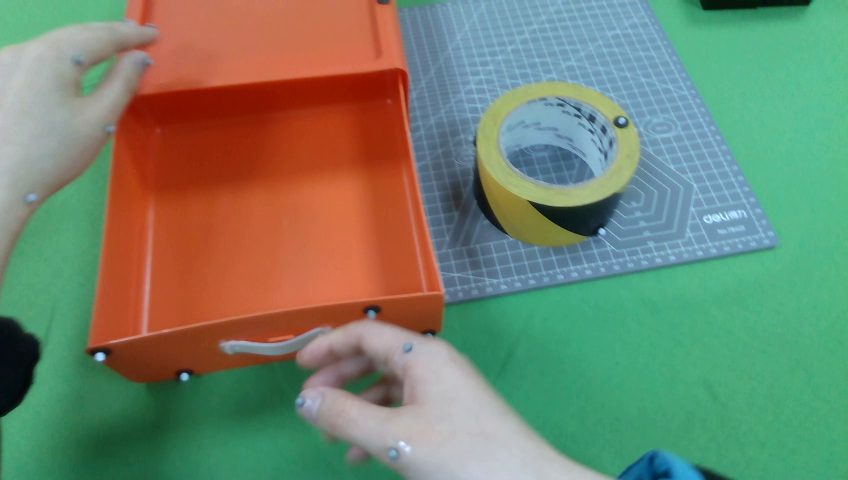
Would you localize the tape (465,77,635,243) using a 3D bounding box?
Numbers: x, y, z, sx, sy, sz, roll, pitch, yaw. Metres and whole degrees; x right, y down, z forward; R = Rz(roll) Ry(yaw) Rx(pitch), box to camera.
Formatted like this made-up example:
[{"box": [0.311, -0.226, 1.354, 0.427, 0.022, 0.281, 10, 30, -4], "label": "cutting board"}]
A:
[{"box": [0.089, -0.057, 0.431, 0.117, 0.053, 0.116, 0, 60, 1], "label": "tape"}]

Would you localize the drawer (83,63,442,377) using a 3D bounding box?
[{"box": [-0.101, -0.029, 0.402, 0.195, 0.074, 0.209, -9, 61, -4], "label": "drawer"}]

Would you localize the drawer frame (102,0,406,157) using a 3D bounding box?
[{"box": [-0.127, -0.175, 0.480, 0.202, 0.083, 0.211, -8, 60, -4], "label": "drawer frame"}]
